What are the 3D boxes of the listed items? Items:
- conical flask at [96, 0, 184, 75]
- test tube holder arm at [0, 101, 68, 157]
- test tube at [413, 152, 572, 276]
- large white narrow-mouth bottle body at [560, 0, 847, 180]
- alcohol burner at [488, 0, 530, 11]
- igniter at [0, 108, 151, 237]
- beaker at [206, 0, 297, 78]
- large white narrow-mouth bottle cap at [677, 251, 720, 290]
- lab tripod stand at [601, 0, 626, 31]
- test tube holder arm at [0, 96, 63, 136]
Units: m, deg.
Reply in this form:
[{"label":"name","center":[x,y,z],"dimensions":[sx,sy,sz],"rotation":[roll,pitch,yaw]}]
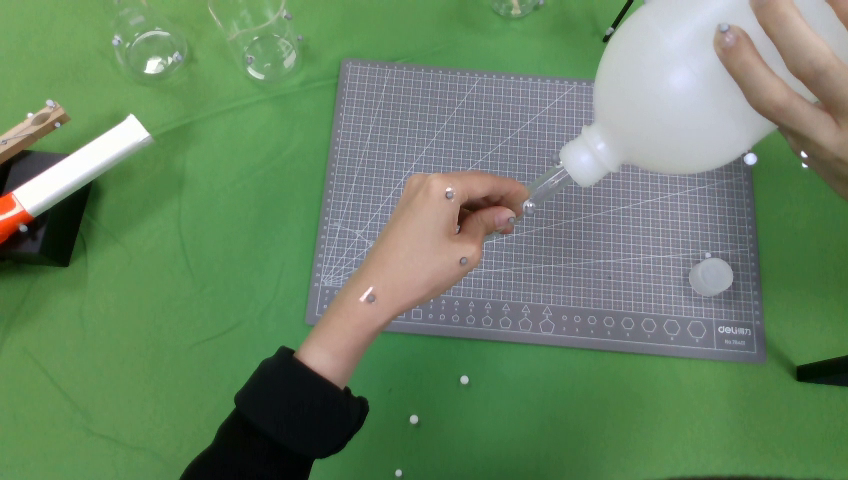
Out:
[{"label":"conical flask","center":[-0.300,-0.230,0.612],"dimensions":[0.075,0.122,0.075],"rotation":[0,73,-1]},{"label":"test tube holder arm","center":[-0.382,-0.101,0.576],"dimensions":[0.088,0.015,0.010],"rotation":[-38,78,-12]},{"label":"test tube","center":[0.044,-0.014,0.422],"dimensions":[0.150,0.017,0.017],"rotation":[-37,72,34]},{"label":"large white narrow-mouth bottle body","center":[0.157,-0.101,0.329],"dimensions":[0.195,0.102,0.101],"rotation":[-40,74,29]},{"label":"alcohol burner","center":[0.100,-0.307,0.652],"dimensions":[0.078,0.119,0.077],"rotation":[1,72,-3]},{"label":"igniter","center":[-0.378,-0.032,0.552],"dimensions":[0.276,0.025,0.057],"rotation":[-39,80,-15]},{"label":"beaker","center":[-0.174,-0.220,0.625],"dimensions":[0.074,0.101,0.083],"rotation":[19,74,5]},{"label":"large white narrow-mouth bottle cap","center":[0.273,0.031,0.603],"dimensions":[0.038,0.024,0.037],"rotation":[0,75,-1]},{"label":"lab tripod stand","center":[0.269,-0.290,0.641],"dimensions":[0.148,0.132,0.147],"rotation":[1,72,-3]},{"label":"test tube holder arm","center":[-0.420,-0.078,0.567],"dimensions":[0.178,0.015,0.013],"rotation":[-39,78,-13]}]
